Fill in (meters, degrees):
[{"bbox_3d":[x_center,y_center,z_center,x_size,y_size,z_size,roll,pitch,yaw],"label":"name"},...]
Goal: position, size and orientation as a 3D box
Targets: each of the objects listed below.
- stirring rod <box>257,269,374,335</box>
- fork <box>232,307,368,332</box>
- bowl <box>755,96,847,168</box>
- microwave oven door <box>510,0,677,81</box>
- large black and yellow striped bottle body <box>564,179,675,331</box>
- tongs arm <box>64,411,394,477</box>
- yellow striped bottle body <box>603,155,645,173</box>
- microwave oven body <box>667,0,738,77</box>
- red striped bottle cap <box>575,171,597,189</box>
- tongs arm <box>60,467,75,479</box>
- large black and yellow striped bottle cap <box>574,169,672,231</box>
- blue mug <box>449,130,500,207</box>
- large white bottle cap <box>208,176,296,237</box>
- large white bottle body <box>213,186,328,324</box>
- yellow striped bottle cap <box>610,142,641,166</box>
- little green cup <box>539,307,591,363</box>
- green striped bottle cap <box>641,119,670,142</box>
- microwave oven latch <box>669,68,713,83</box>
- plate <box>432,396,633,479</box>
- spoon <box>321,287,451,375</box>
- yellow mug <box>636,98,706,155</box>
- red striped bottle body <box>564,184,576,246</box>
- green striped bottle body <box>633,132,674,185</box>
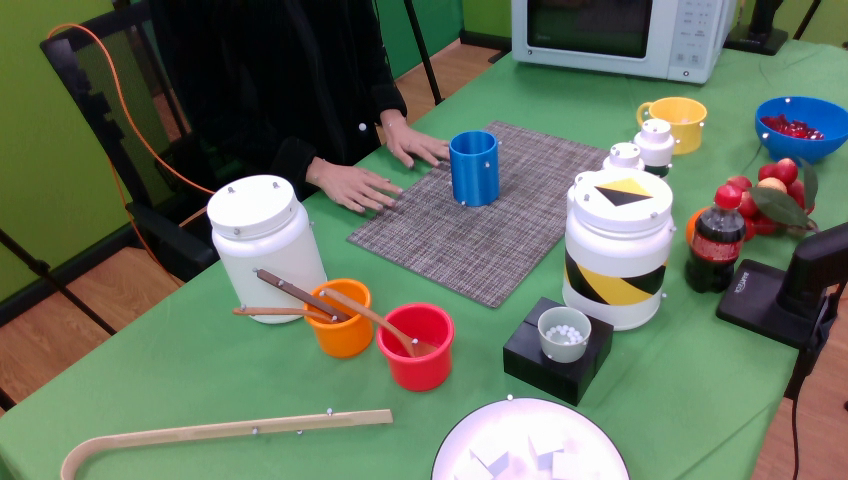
[{"bbox_3d":[-0.143,0.084,0.808,0.177,0.006,0.014,30,43,-19],"label":"stirring rod"},{"bbox_3d":[-0.152,0.101,0.781,0.209,0.018,0.028,18,18,-46],"label":"fork"},{"bbox_3d":[0.645,-0.177,1.041,0.151,0.077,0.150,-5,40,4],"label":"bowl"},{"bbox_3d":[0.354,-0.478,1.290,0.353,0.245,0.039,15,45,25],"label":"microwave oven door"},{"bbox_3d":[0.253,0.014,0.793,0.131,0.185,0.130,-5,40,4],"label":"large black and yellow striped bottle body"},{"bbox_3d":[-0.228,0.241,0.715,0.385,0.026,0.050,-5,43,4],"label":"tongs arm"},{"bbox_3d":[0.314,-0.091,0.957,0.063,0.121,0.062,-4,40,4],"label":"yellow striped bottle body"},{"bbox_3d":[0.462,-0.552,1.369,0.439,0.261,0.326,15,45,26],"label":"microwave oven body"},{"bbox_3d":[0.242,-0.081,0.876,0.044,0.018,0.044,-5,44,5],"label":"red striped bottle cap"},{"bbox_3d":[-0.239,0.301,0.648,0.386,0.028,0.028,6,49,16],"label":"tongs arm"},{"bbox_3d":[0.242,-0.051,0.738,0.115,0.019,0.114,-4,37,3],"label":"large black and yellow striped bottle cap"},{"bbox_3d":[0.089,-0.132,1.049,0.082,0.106,0.116,0,40,9],"label":"blue mug"},{"bbox_3d":[-0.229,-0.048,0.809,0.115,0.018,0.114,-4,41,4],"label":"large white bottle cap"},{"bbox_3d":[-0.220,0.016,0.864,0.130,0.185,0.130,-5,40,4],"label":"large white bottle body"},{"bbox_3d":[0.308,-0.131,0.925,0.044,0.019,0.044,-4,45,5],"label":"yellow striped bottle cap"},{"bbox_3d":[0.167,0.114,0.721,0.061,0.039,0.061,-4,43,4],"label":"little green cup"},{"bbox_3d":[0.371,-0.175,0.968,0.044,0.020,0.044,-4,42,4],"label":"green striped bottle cap"},{"bbox_3d":[0.556,-0.348,1.262,0.078,0.029,0.030,15,46,26],"label":"microwave oven latch"},{"bbox_3d":[0.112,0.261,0.634,0.209,0.038,0.208,-5,40,4],"label":"plate"},{"bbox_3d":[-0.046,0.111,0.757,0.194,0.021,0.041,38,46,-15],"label":"spoon"},{"bbox_3d":[0.453,-0.217,1.128,0.100,0.064,0.129,-34,46,-27],"label":"yellow mug"},{"bbox_3d":[0.247,-0.041,0.910,0.063,0.120,0.062,-3,39,3],"label":"red striped bottle body"},{"bbox_3d":[0.376,-0.135,1.001,0.063,0.120,0.063,-5,40,5],"label":"green striped bottle body"}]
